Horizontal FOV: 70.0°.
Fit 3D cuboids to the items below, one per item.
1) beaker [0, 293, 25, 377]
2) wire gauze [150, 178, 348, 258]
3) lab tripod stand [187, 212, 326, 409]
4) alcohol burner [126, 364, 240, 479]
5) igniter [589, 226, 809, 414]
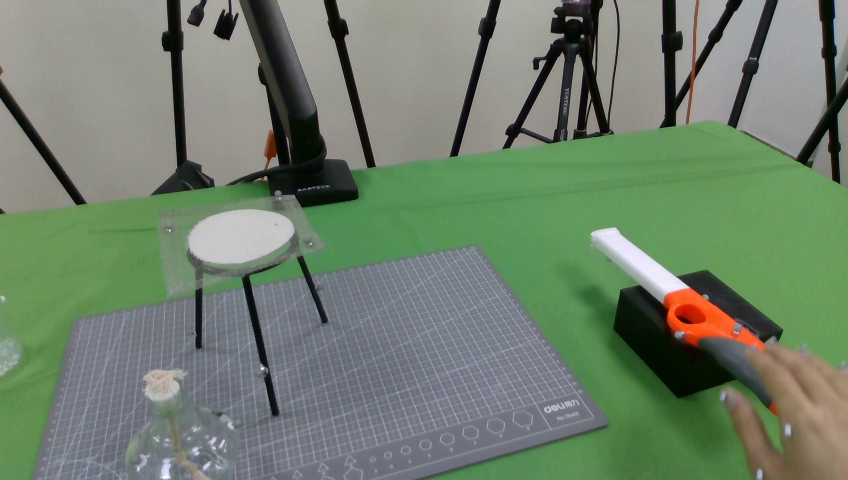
[{"bbox_3d":[-0.414,0.075,0.548,0.073,0.101,0.084,18,36,27],"label":"beaker"},{"bbox_3d":[-0.146,-0.019,0.499,0.125,0.011,0.120,-20,32,-39],"label":"wire gauze"},{"bbox_3d":[-0.148,0.055,0.540,0.148,0.132,0.147,1,33,0],"label":"lab tripod stand"},{"bbox_3d":[-0.174,0.135,0.432,0.078,0.120,0.077,1,31,0],"label":"alcohol burner"},{"bbox_3d":[0.233,0.057,0.549,0.057,0.025,0.273,-11,31,-13],"label":"igniter"}]
